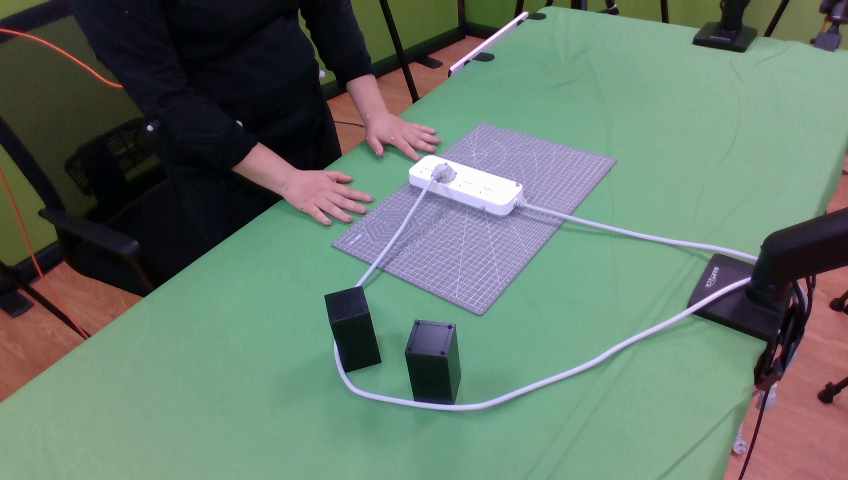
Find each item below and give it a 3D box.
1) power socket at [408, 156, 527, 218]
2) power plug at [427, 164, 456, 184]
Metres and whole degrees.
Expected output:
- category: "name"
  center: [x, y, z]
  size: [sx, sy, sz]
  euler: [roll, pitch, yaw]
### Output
- category: "power socket"
  center: [0.070, -0.095, 1.060]
  size: [0.225, 0.033, 0.072]
  euler: [22, 49, 30]
- category: "power plug"
  center: [0.024, -0.103, 1.047]
  size: [0.073, 0.053, 0.035]
  euler: [-36, 46, -26]
